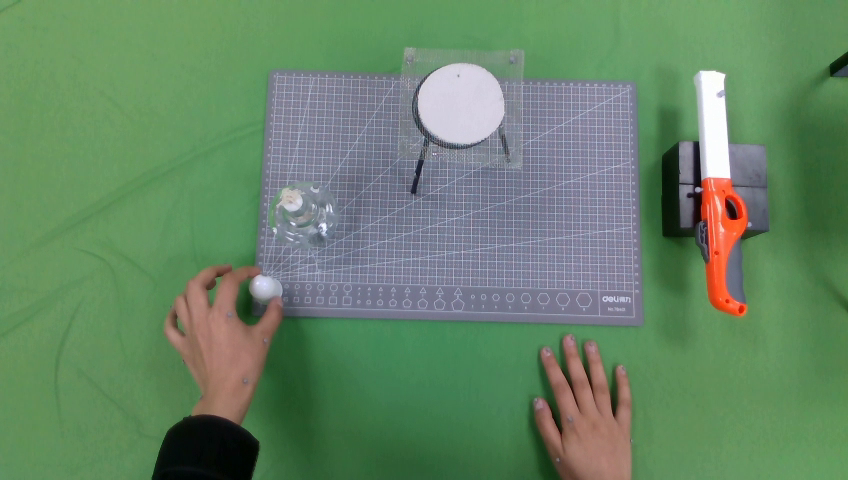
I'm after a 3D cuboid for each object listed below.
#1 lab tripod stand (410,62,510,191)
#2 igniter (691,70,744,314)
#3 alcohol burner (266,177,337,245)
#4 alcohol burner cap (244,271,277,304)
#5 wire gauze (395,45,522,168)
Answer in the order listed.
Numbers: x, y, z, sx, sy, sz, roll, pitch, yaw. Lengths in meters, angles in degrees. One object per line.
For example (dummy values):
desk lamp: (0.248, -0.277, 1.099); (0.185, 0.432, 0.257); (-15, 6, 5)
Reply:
lab tripod stand: (0.029, -0.127, 0.664); (0.148, 0.132, 0.148); (0, 80, 1)
igniter: (0.321, -0.057, 0.668); (0.057, 0.025, 0.275); (2, 78, -3)
alcohol burner: (-0.136, -0.034, 0.655); (0.078, 0.119, 0.077); (0, 81, 1)
alcohol burner cap: (-0.185, 0.050, 0.675); (0.034, 0.048, 0.033); (1, 71, -3)
wire gauze: (0.036, -0.135, 0.597); (0.125, 0.011, 0.121); (4, 80, 0)
